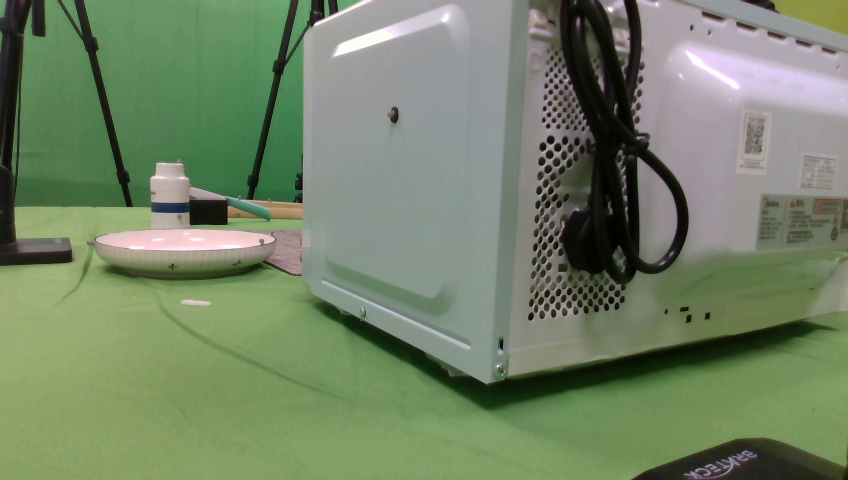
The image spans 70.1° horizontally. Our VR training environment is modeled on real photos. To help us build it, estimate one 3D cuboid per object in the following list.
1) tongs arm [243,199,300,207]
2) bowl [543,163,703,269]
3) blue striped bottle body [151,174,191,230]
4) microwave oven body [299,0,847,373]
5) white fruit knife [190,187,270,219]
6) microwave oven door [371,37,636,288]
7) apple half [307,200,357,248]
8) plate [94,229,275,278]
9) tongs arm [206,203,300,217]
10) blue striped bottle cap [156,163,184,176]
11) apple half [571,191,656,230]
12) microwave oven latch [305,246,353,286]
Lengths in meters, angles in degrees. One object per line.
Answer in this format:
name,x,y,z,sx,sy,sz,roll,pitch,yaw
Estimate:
tongs arm,-0.309,-0.078,1.486,0.385,0.026,0.051,3,7,-2
bowl,0.181,-0.020,0.585,0.151,0.077,0.151,13,7,-1
blue striped bottle body,-0.439,-0.071,1.052,0.063,0.120,0.063,2,8,0
microwave oven body,0.152,-0.055,0.542,0.444,0.260,0.324,-2,7,-33
white fruit knife,-0.413,-0.081,1.270,0.208,0.027,0.016,17,14,-41
microwave oven door,0.110,-0.080,0.686,0.358,0.243,0.039,-2,9,-33
apple half,-0.136,-0.024,0.942,0.053,0.074,0.081,15,10,38
plate,-0.291,0.016,0.749,0.208,0.039,0.207,2,7,0
tongs arm,-0.302,-0.066,1.406,0.389,0.028,0.028,1,4,-15
blue striped bottle cap,-0.438,-0.121,1.045,0.044,0.020,0.044,4,7,0
apple half,0.181,-0.030,0.585,0.081,0.033,0.081,8,-6,1
microwave oven latch,-0.093,0.025,0.603,0.030,0.029,0.079,5,7,11
